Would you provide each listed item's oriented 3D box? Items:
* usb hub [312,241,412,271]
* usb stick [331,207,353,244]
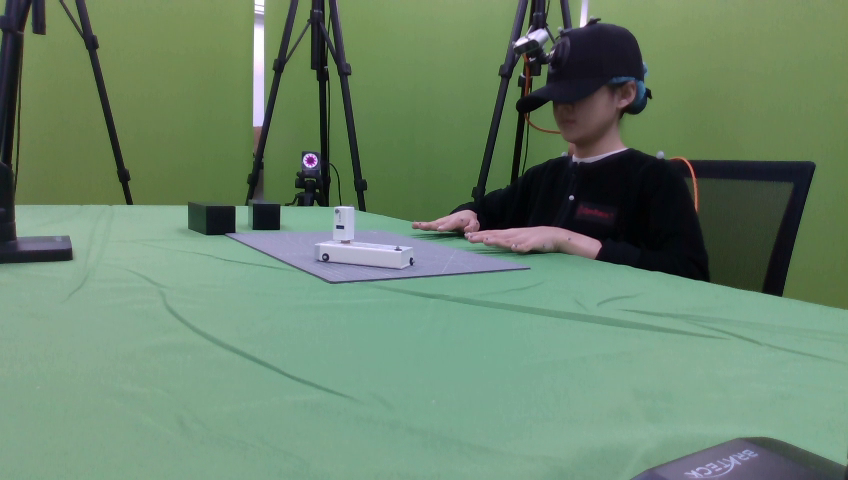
[{"bbox_3d":[-0.083,0.020,0.803,0.125,0.025,0.049,5,8,17],"label":"usb hub"},{"bbox_3d":[-0.110,-0.014,0.812,0.021,0.059,0.027,6,11,16],"label":"usb stick"}]
